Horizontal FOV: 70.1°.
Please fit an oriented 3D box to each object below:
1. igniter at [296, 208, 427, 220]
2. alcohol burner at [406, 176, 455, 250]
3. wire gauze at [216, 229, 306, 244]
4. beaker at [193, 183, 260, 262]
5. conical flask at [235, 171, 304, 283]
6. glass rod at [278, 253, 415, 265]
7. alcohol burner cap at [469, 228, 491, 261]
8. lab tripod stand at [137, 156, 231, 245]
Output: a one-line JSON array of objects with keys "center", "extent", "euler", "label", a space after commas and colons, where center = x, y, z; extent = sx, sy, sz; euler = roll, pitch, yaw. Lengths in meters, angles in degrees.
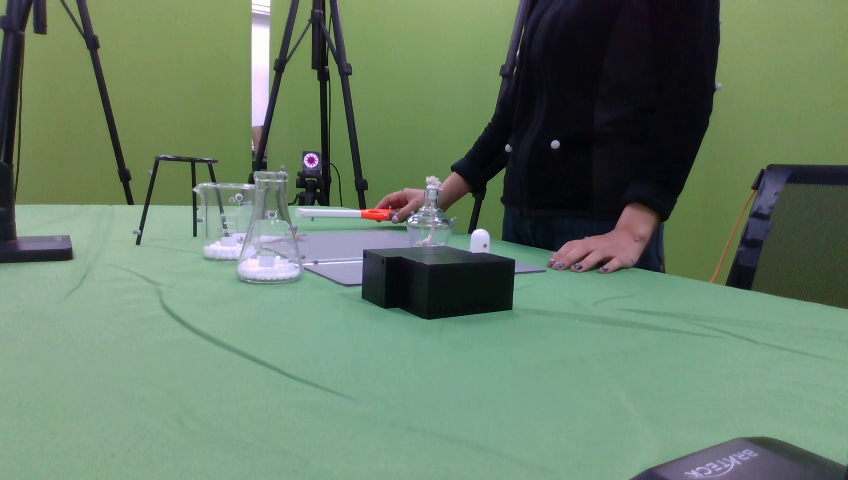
[{"center": [-0.123, -0.053, 1.242], "extent": [0.278, 0.025, 0.057], "euler": [0, 7, -28], "label": "igniter"}, {"center": [0.012, -0.044, 0.963], "extent": [0.078, 0.119, 0.078], "euler": [4, 7, 0], "label": "alcohol burner"}, {"center": [-0.273, -0.009, 1.013], "extent": [0.122, 0.011, 0.124], "euler": [-2, 9, -33], "label": "wire gauze"}, {"center": [-0.262, -0.025, 0.806], "extent": [0.084, 0.100, 0.073], "euler": [-3, 9, -30], "label": "beaker"}, {"center": [-0.172, -0.016, 0.677], "extent": [0.075, 0.122, 0.075], "euler": [2, 7, 0], "label": "conical flask"}, {"center": [-0.097, 0.024, 0.805], "extent": [0.201, 0.008, 0.008], "euler": [-3, 8, -33], "label": "glass rod"}, {"center": [0.082, 0.006, 0.878], "extent": [0.034, 0.048, 0.034], "euler": [3, 7, 0], "label": "alcohol burner cap"}, {"center": [-0.358, -0.061, 0.927], "extent": [0.148, 0.131, 0.148], "euler": [4, 6, 0], "label": "lab tripod stand"}]
